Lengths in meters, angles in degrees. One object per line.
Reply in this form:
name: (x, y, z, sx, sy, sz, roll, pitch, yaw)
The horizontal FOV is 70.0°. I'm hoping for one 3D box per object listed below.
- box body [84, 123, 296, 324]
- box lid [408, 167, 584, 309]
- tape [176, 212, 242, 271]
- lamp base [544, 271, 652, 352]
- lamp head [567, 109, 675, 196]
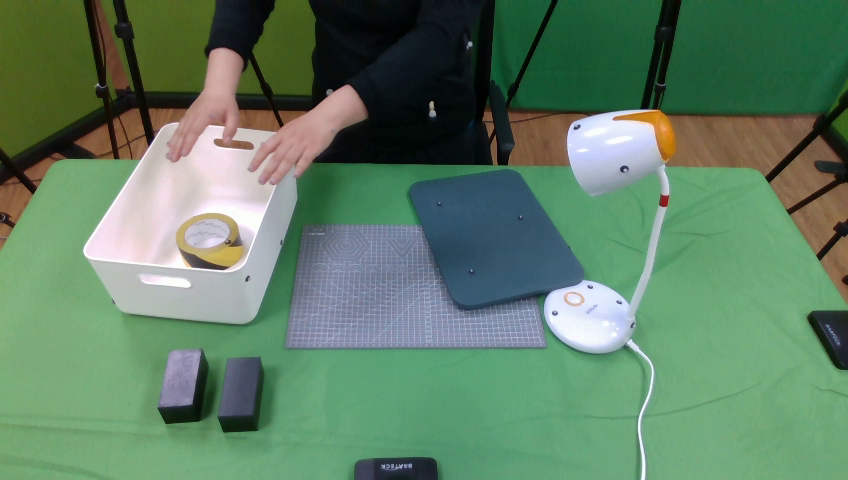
box body: (-0.393, -0.035, 1.104, 0.254, 0.161, 0.362, 5, 46, 1)
box lid: (0.133, -0.018, 1.223, 0.263, 0.015, 0.369, -11, 45, -12)
tape: (-0.401, 0.005, 1.133, 0.117, 0.053, 0.116, 2, 46, -2)
lamp base: (0.310, 0.086, 1.029, 0.178, 0.181, 0.160, 32, 52, 21)
lamp head: (0.272, -0.123, 0.818, 0.122, 0.113, 0.112, -9, 35, 37)
